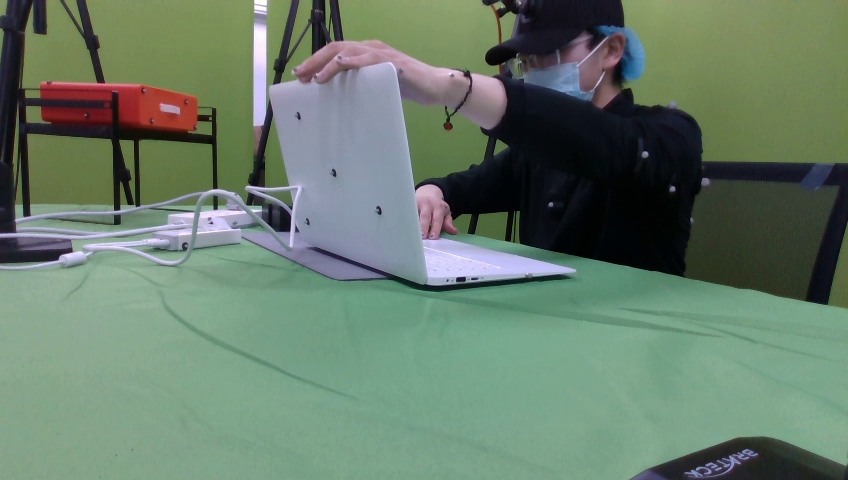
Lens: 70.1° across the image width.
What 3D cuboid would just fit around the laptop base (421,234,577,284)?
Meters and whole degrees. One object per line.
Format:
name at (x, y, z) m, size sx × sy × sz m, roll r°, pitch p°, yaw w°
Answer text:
laptop base at (0.007, 0.022, 0.850) m, size 0.237 × 0.023 × 0.352 m, roll 1°, pitch 7°, yaw -34°

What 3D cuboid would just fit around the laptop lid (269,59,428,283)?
laptop lid at (-0.110, -0.087, 0.752) m, size 0.013 × 0.241 × 0.355 m, roll -18°, pitch 19°, yaw -30°

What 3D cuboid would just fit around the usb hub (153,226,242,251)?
usb hub at (-0.337, -0.003, 0.907) m, size 0.049 × 0.025 × 0.125 m, roll 6°, pitch 9°, yaw 28°

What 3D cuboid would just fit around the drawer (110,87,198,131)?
drawer at (-0.602, -0.263, 1.225) m, size 0.211 × 0.073 × 0.195 m, roll 3°, pitch 8°, yaw 10°

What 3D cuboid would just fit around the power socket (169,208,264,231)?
power socket at (-0.381, -0.038, 1.128) m, size 0.072 × 0.032 × 0.227 m, roll 4°, pitch 8°, yaw 17°

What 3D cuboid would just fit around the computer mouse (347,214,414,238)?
computer mouse at (-0.079, -0.024, 1.080) m, size 0.117 × 0.041 × 0.062 m, roll -4°, pitch 11°, yaw -18°

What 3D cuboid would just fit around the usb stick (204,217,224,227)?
usb stick at (-0.345, -0.019, 1.008) m, size 0.021 × 0.027 × 0.059 m, roll -39°, pitch -3°, yaw -9°

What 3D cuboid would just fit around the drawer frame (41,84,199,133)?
drawer frame at (-0.604, -0.264, 1.225) m, size 0.213 × 0.082 × 0.202 m, roll 3°, pitch 8°, yaw 8°

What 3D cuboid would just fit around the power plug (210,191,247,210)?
power plug at (-0.386, -0.071, 1.204) m, size 0.072 × 0.052 × 0.035 m, roll 7°, pitch 10°, yaw 25°
